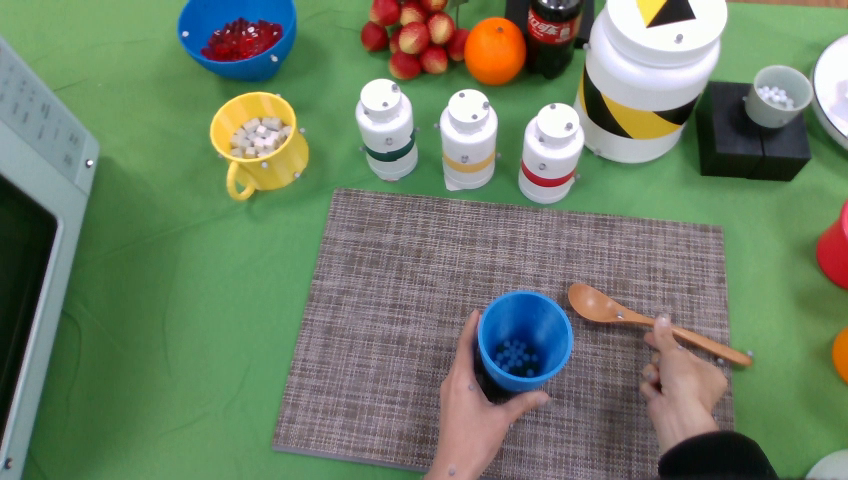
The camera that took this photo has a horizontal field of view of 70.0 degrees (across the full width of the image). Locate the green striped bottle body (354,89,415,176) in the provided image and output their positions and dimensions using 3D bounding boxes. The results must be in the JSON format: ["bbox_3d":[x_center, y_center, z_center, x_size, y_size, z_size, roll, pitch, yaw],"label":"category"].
[{"bbox_3d":[-0.045,-0.130,0.695,0.063,0.120,0.062,-1,64,3],"label":"green striped bottle body"}]

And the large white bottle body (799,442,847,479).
[{"bbox_3d":[0.399,0.212,0.472,0.130,0.186,0.129,-1,64,3],"label":"large white bottle body"}]

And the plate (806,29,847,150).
[{"bbox_3d":[0.561,-0.168,0.723,0.209,0.038,0.207,-1,65,3],"label":"plate"}]

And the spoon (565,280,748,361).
[{"bbox_3d":[0.239,0.086,0.627,0.193,0.022,0.041,19,49,12],"label":"spoon"}]

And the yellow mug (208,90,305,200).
[{"bbox_3d":[-0.204,-0.108,0.724,0.099,0.064,0.130,16,67,9],"label":"yellow mug"}]

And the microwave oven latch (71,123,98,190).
[{"bbox_3d":[-0.417,-0.100,0.728,0.030,0.030,0.078,-1,66,3],"label":"microwave oven latch"}]

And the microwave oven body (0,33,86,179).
[{"bbox_3d":[-0.566,0.025,0.571,0.326,0.262,0.438,-3,65,2],"label":"microwave oven body"}]

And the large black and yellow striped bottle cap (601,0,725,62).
[{"bbox_3d":[0.233,-0.224,0.594,0.115,0.019,0.114,-2,64,3],"label":"large black and yellow striped bottle cap"}]

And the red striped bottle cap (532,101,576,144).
[{"bbox_3d":[0.134,-0.121,0.622,0.044,0.018,0.044,0,64,0],"label":"red striped bottle cap"}]

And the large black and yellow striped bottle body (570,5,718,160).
[{"bbox_3d":[0.240,-0.189,0.671,0.131,0.185,0.129,-1,65,3],"label":"large black and yellow striped bottle body"}]

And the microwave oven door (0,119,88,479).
[{"bbox_3d":[-0.420,0.055,0.544,0.039,0.246,0.353,-3,65,3],"label":"microwave oven door"}]

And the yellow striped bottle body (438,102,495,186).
[{"bbox_3d":[0.048,-0.117,0.683,0.063,0.121,0.062,-2,64,4],"label":"yellow striped bottle body"}]

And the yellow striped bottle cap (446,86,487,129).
[{"bbox_3d":[0.045,-0.140,0.637,0.044,0.019,0.044,-1,66,2],"label":"yellow striped bottle cap"}]

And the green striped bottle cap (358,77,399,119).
[{"bbox_3d":[-0.049,-0.153,0.648,0.044,0.020,0.044,-1,64,2],"label":"green striped bottle cap"}]

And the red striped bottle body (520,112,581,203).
[{"bbox_3d":[0.139,-0.097,0.669,0.063,0.121,0.062,-3,62,6],"label":"red striped bottle body"}]

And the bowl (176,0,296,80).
[{"bbox_3d":[-0.234,-0.264,0.792,0.151,0.077,0.150,-1,65,2],"label":"bowl"}]

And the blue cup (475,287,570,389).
[{"bbox_3d":[0.089,0.103,0.584,0.092,0.101,0.092,0,64,1],"label":"blue cup"}]

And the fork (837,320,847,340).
[{"bbox_3d":[0.469,0.116,0.533,0.028,0.019,0.205,-27,22,-14],"label":"fork"}]

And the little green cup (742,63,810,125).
[{"bbox_3d":[0.388,-0.160,0.673,0.061,0.039,0.061,-1,64,2],"label":"little green cup"}]
